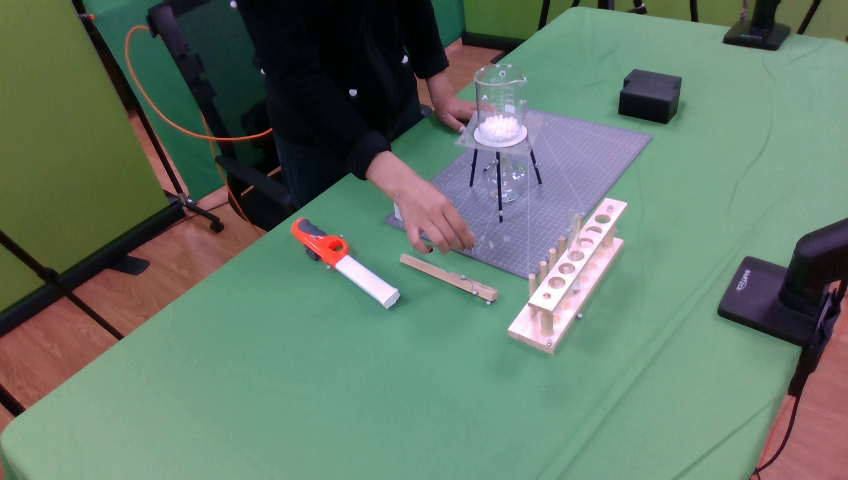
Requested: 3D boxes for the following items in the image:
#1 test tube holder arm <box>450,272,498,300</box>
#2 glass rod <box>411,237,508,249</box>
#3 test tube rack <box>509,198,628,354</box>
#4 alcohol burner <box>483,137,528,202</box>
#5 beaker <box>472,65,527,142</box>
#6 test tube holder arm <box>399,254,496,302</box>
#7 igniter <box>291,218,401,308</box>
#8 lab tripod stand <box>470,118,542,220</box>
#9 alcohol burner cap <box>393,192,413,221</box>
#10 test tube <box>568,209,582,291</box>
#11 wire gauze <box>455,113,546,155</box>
[{"bbox_3d":[0.071,0.068,0.894,0.087,0.015,0.010,21,16,32],"label":"test tube holder arm"},{"bbox_3d":[0.049,0.006,0.919,0.198,0.008,0.008,-6,33,46],"label":"glass rod"},{"bbox_3d":[0.206,0.039,0.850,0.066,0.085,0.243,20,48,31],"label":"test tube rack"},{"bbox_3d":[0.138,-0.125,1.030,0.078,0.119,0.077,-4,41,4],"label":"alcohol burner"},{"bbox_3d":[0.120,-0.211,0.942,0.083,0.101,0.074,10,42,22],"label":"beaker"},{"bbox_3d":[0.032,0.055,0.913,0.177,0.015,0.013,21,16,32],"label":"test tube holder arm"},{"bbox_3d":[-0.135,0.030,0.970,0.057,0.025,0.274,-42,49,-20],"label":"igniter"},{"bbox_3d":[0.135,-0.128,1.019,0.148,0.132,0.147,-5,38,5],"label":"lab tripod stand"},{"bbox_3d":[-0.038,-0.060,1.043,0.034,0.048,0.033,-5,40,5],"label":"alcohol burner cap"},{"bbox_3d":[0.200,0.017,0.799,0.017,0.151,0.017,-8,45,8],"label":"test tube"},{"bbox_3d":[0.124,-0.175,0.973,0.124,0.011,0.121,8,39,21],"label":"wire gauze"}]
